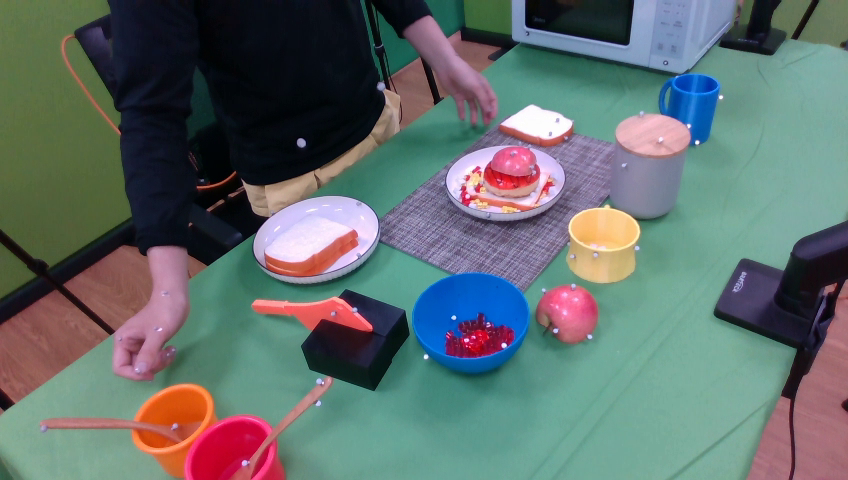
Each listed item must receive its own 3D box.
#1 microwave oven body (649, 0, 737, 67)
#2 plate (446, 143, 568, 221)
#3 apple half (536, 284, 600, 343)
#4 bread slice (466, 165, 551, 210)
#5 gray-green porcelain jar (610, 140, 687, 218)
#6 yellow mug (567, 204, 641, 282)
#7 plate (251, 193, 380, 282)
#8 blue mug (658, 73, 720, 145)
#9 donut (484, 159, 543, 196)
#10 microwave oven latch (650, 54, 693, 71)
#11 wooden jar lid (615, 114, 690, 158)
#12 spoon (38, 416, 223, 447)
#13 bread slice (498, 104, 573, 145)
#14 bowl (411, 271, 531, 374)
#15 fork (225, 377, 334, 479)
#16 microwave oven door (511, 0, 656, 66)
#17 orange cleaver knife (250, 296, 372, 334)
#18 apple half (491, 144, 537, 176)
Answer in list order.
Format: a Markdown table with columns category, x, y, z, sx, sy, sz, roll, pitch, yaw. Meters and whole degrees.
| category | x | y | z | sx | sy | sz | roll | pitch | yaw |
| --- | --- | --- | --- | --- | --- | --- | --- | --- | --- |
| microwave oven body | 0.475 | -0.602 | 1.411 | 0.438 | 0.261 | 0.327 | 23 | 50 | 32 |
| plate | 0.142 | -0.097 | 1.045 | 0.207 | 0.039 | 0.206 | -4 | 40 | 4 |
| apple half | 0.196 | 0.091 | 0.815 | 0.075 | 0.053 | 0.080 | -22 | 42 | -20 |
| bread slice | 0.141 | -0.093 | 1.041 | 0.133 | 0.018 | 0.107 | 9 | 42 | 20 |
| gray-green porcelain jar | 0.354 | -0.106 | 0.964 | 0.106 | 0.127 | 0.105 | -4 | 41 | 4 |
| yellow mug | 0.268 | -0.005 | 0.905 | 0.099 | 0.064 | 0.130 | 6 | 42 | 15 |
| plate | -0.174 | -0.001 | 0.984 | 0.209 | 0.038 | 0.208 | -4 | 40 | 3 |
| blue mug | 0.483 | -0.250 | 1.127 | 0.082 | 0.106 | 0.115 | -26 | 44 | -19 |
| donut | 0.150 | -0.112 | 1.018 | 0.099 | 0.048 | 0.098 | -4 | 40 | 4 |
| microwave oven latch | 0.531 | -0.386 | 1.301 | 0.078 | 0.029 | 0.030 | 26 | 51 | 33 |
| wooden jar lid | 0.347 | -0.155 | 0.923 | 0.108 | 0.021 | 0.108 | -3 | 44 | 4 |
| spoon | -0.320 | 0.209 | 0.677 | 0.021 | 0.195 | 0.041 | -53 | 41 | 16 |
| bread slice | 0.231 | -0.231 | 1.205 | 0.105 | 0.019 | 0.130 | -36 | 47 | -28 |
| bowl | 0.062 | 0.119 | 0.780 | 0.151 | 0.077 | 0.150 | -4 | 40 | 4 |
| fork | -0.163 | 0.216 | 0.646 | 0.207 | 0.019 | 0.028 | -49 | 42 | 16 |
| microwave oven door | 0.350 | -0.539 | 1.348 | 0.353 | 0.245 | 0.039 | 24 | 50 | 31 |
| orange cleaver knife | -0.159 | 0.103 | 0.828 | 0.210 | 0.078 | 0.012 | -4 | 43 | 39 |
| apple half | 0.149 | -0.140 | 0.995 | 0.081 | 0.033 | 0.081 | 1 | 39 | 0 |
